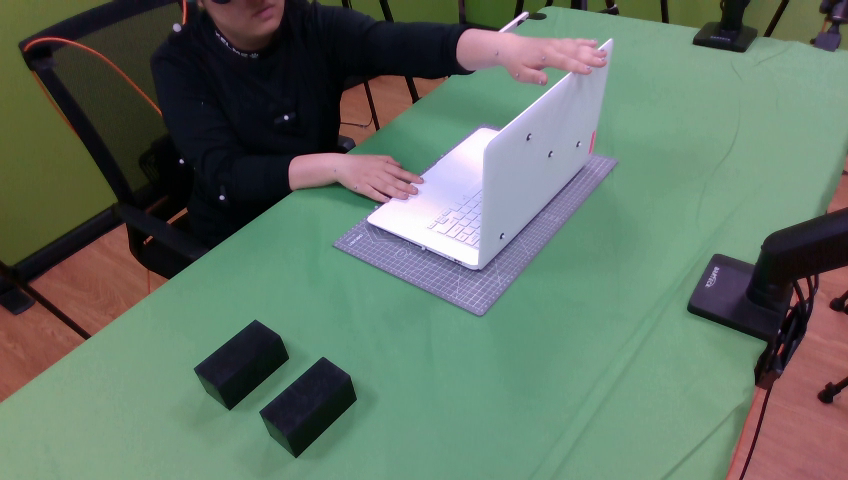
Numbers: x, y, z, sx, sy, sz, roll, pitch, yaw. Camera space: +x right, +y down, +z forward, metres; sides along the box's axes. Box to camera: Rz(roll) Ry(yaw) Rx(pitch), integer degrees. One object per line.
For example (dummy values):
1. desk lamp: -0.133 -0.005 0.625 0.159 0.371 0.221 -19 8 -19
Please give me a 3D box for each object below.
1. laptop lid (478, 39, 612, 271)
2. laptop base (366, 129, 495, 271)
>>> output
1. laptop lid: 0.188 -0.132 0.914 0.013 0.242 0.358 27 49 28
2. laptop base: 0.099 -0.085 1.059 0.233 0.023 0.355 21 48 34
